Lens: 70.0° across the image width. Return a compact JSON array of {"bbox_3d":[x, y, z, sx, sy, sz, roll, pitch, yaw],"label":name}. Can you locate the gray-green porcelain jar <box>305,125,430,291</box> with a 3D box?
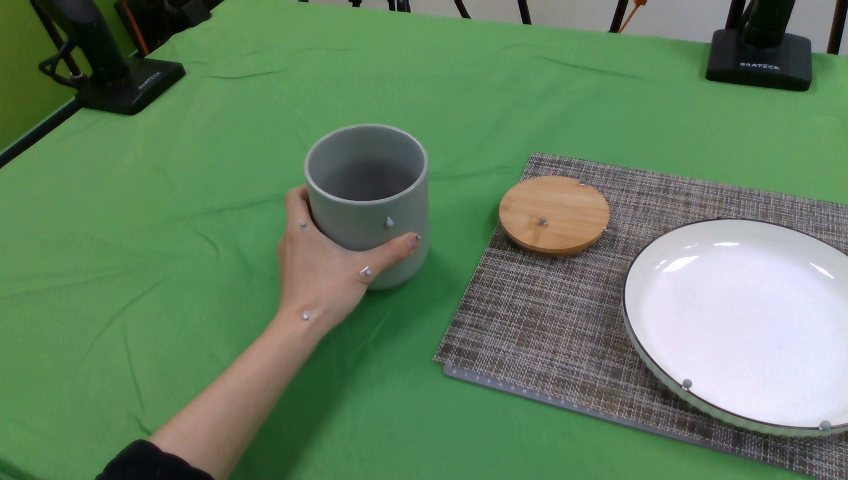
[{"bbox_3d":[-0.048,-0.023,0.555,0.106,0.127,0.105,0,48,0],"label":"gray-green porcelain jar"}]

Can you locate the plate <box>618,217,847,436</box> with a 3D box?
[{"bbox_3d":[0.263,0.065,0.489,0.207,0.039,0.205,-4,46,4],"label":"plate"}]

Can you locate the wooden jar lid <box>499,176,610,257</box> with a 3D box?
[{"bbox_3d":[0.129,-0.023,0.605,0.108,0.021,0.107,-3,45,3],"label":"wooden jar lid"}]
